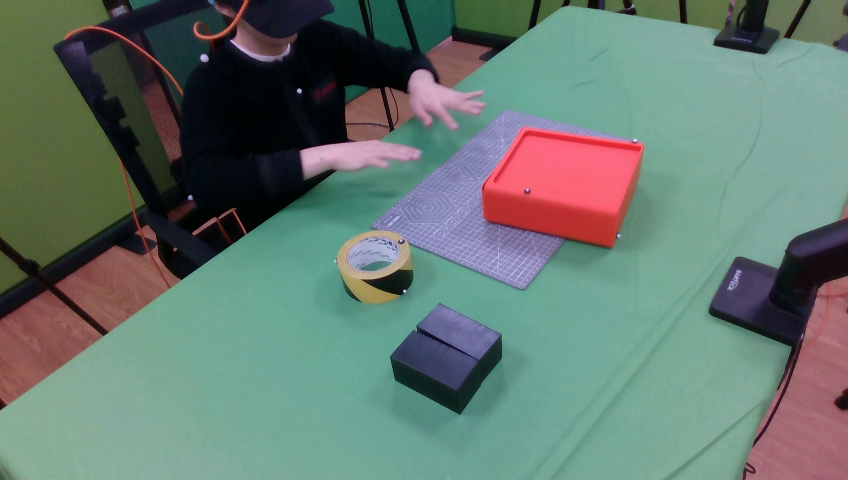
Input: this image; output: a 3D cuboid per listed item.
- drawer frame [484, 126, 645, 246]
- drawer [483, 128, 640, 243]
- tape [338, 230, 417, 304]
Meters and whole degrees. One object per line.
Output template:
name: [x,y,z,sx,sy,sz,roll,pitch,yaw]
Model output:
drawer frame: [0.234,-0.096,1.003,0.212,0.083,0.202,14,44,22]
drawer: [0.230,-0.096,1.006,0.210,0.073,0.194,14,44,23]
tape: [-0.069,0.041,0.917,0.117,0.053,0.116,-4,41,4]
